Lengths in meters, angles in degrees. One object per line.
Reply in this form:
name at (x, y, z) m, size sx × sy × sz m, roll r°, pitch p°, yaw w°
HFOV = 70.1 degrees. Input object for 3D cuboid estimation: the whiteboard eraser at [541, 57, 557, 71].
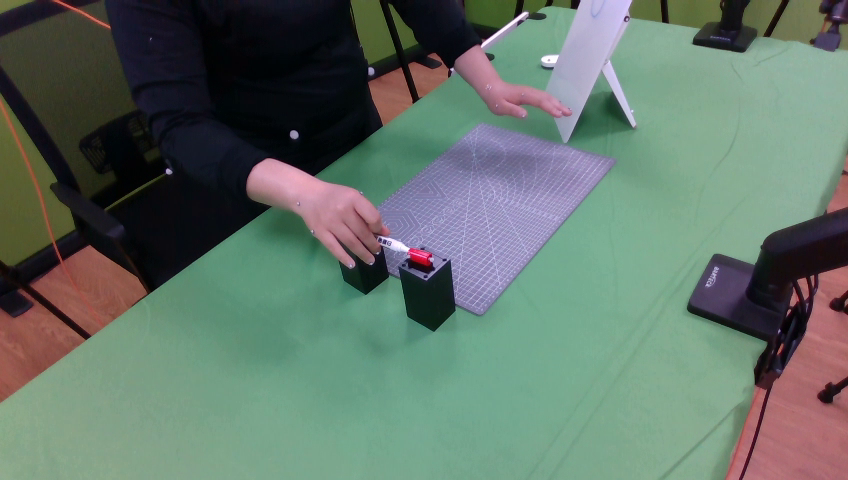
whiteboard eraser at (0.323, -0.412, 1.407) m, size 0.101 × 0.019 × 0.041 m, roll 1°, pitch 41°, yaw 11°

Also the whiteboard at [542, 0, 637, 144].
whiteboard at (0.366, -0.351, 1.160) m, size 0.144 × 0.305 × 0.216 m, roll 10°, pitch 39°, yaw -10°

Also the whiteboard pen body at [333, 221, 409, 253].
whiteboard pen body at (-0.069, -0.002, 0.831) m, size 0.139 × 0.017 × 0.017 m, roll 19°, pitch 47°, yaw 29°

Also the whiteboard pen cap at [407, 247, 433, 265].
whiteboard pen cap at (-0.006, 0.021, 0.793) m, size 0.032 × 0.017 × 0.017 m, roll 19°, pitch 47°, yaw 29°
